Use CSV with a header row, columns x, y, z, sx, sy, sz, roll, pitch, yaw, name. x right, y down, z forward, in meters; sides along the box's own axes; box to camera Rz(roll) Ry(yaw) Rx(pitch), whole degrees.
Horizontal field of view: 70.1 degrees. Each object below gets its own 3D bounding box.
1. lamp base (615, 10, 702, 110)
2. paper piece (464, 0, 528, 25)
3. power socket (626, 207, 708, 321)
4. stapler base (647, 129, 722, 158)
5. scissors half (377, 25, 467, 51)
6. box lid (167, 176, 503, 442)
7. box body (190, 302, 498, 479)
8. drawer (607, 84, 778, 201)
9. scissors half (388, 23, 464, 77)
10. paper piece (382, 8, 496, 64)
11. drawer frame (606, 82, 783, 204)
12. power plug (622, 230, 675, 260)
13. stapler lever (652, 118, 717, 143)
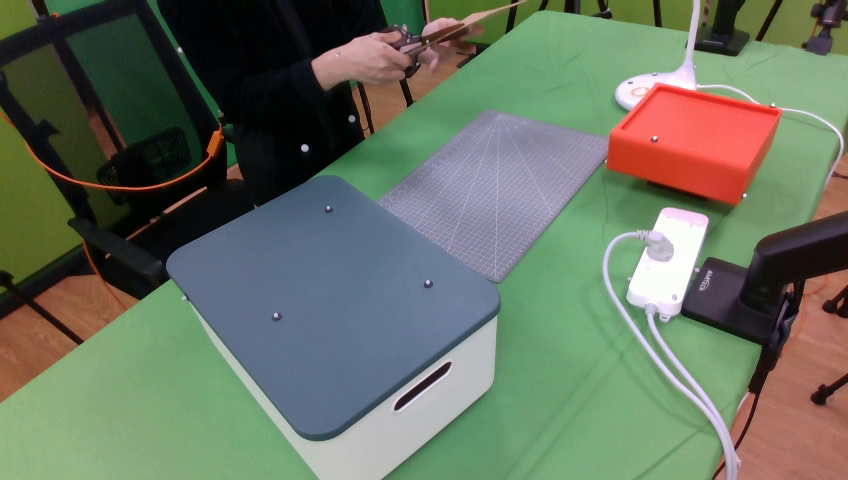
x,y,z,sx,sy,sz,roll,pitch,yaw,name
0.485,-0.364,1.211,0.180,0.181,0.159,-15,41,-14,lamp base
0.096,-0.353,0.957,0.137,0.009,0.136,-3,24,43,paper piece
0.360,0.026,0.886,0.072,0.033,0.227,16,46,26,power socket
0.439,-0.167,1.023,0.131,0.024,0.041,-16,25,-15,stapler base
-0.006,-0.324,0.961,0.174,0.040,0.013,10,42,33,scissors half
-0.119,0.047,0.714,0.264,0.015,0.368,-32,47,-27,box lid
-0.110,0.103,0.761,0.255,0.161,0.361,-33,46,-27,box body
0.438,-0.167,0.995,0.210,0.073,0.195,23,48,30,drawer
0.003,-0.305,0.969,0.174,0.040,0.013,-20,17,47,scissors half
0.018,-0.291,0.869,0.135,0.004,0.136,-9,23,46,paper piece
0.441,-0.167,0.995,0.212,0.083,0.202,23,48,30,drawer frame
0.327,0.007,0.878,0.072,0.053,0.035,25,50,33,power plug
0.436,-0.192,1.014,0.118,0.040,0.026,-16,25,-16,stapler lever
